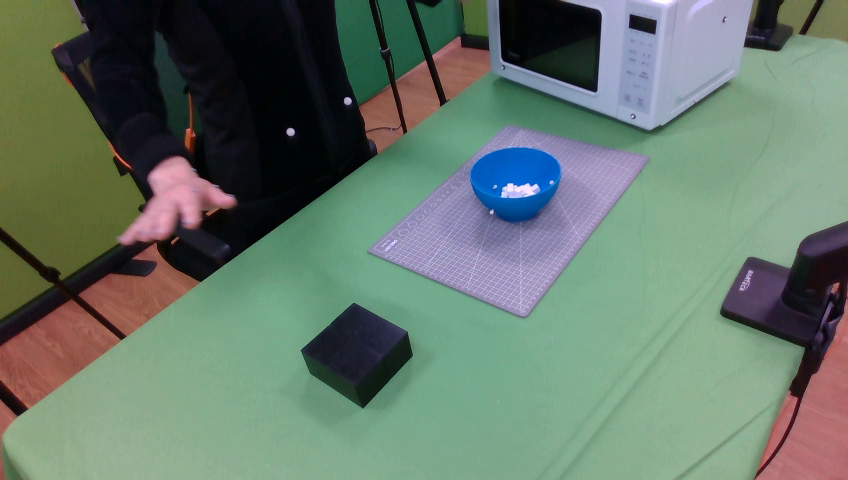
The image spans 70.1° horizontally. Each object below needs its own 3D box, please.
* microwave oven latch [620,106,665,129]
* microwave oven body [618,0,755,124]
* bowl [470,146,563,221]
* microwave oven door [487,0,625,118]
[{"bbox_3d":[0.412,-0.237,1.146,0.030,0.029,0.078,-32,44,-23],"label":"microwave oven latch"},{"bbox_3d":[0.402,-0.458,1.259,0.327,0.261,0.437,-33,45,-24],"label":"microwave oven body"},{"bbox_3d":[0.155,-0.084,1.008,0.151,0.077,0.150,-6,40,5],"label":"bowl"},{"bbox_3d":[0.262,-0.409,1.221,0.039,0.245,0.352,-33,45,-25],"label":"microwave oven door"}]
